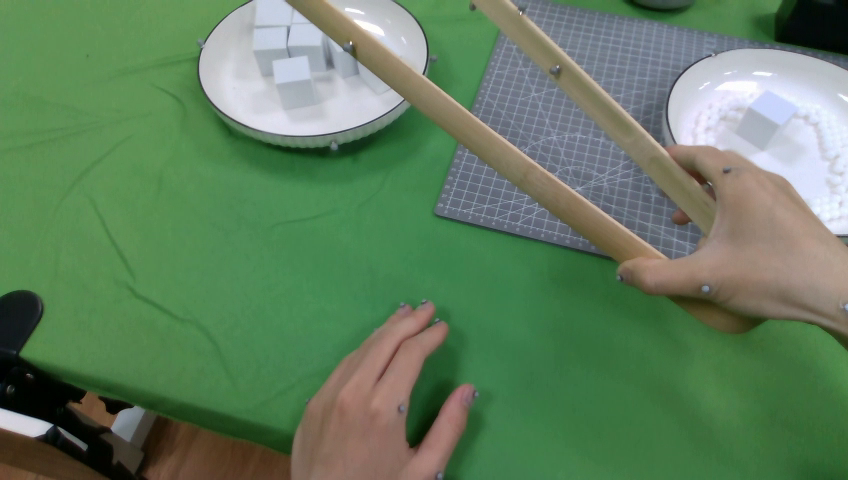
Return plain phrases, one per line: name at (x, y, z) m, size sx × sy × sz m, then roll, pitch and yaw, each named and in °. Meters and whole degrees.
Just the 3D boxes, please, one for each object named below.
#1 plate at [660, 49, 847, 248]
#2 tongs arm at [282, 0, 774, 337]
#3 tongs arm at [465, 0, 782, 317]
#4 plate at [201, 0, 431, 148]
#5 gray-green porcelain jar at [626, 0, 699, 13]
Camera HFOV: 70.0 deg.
plate at (0.301, -0.078, 0.508) m, size 0.209 × 0.038 × 0.207 m, roll 0°, pitch 57°, yaw 0°
tongs arm at (0.052, -0.060, 0.395) m, size 0.386 × 0.028 × 0.028 m, roll 39°, pitch 52°, yaw 8°
tongs arm at (0.102, -0.098, 0.433) m, size 0.051 × 0.026 × 0.382 m, roll -33°, pitch 74°, yaw -32°
plate at (-0.097, -0.161, 0.565) m, size 0.208 × 0.039 × 0.205 m, roll 0°, pitch 57°, yaw 0°
gray-green porcelain jar at (0.251, -0.306, 0.608) m, size 0.106 × 0.127 × 0.105 m, roll 0°, pitch 56°, yaw 0°
